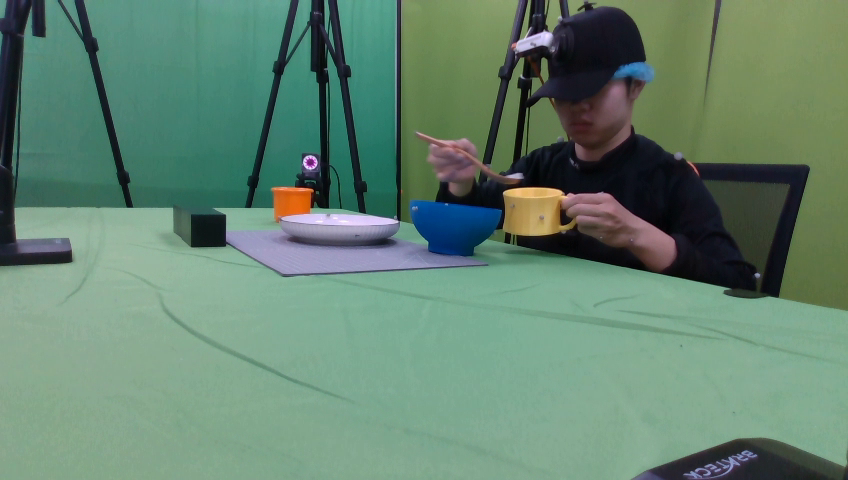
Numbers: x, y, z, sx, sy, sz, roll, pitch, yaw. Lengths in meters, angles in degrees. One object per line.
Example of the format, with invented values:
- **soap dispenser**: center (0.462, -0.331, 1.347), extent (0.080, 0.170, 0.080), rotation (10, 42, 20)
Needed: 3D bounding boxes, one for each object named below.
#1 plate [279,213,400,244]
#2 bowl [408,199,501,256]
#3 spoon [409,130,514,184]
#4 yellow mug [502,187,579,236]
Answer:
- **plate**: center (-0.147, -0.020, 1.060), extent (0.209, 0.038, 0.209), rotation (3, 7, 0)
- **bowl**: center (0.045, -0.019, 0.968), extent (0.151, 0.077, 0.151), rotation (6, 5, 0)
- **spoon**: center (0.061, -0.139, 1.004), extent (0.193, 0.021, 0.042), rotation (32, 8, 9)
- **yellow mug**: center (0.195, -0.048, 1.014), extent (0.130, 0.064, 0.100), rotation (6, 16, 28)
